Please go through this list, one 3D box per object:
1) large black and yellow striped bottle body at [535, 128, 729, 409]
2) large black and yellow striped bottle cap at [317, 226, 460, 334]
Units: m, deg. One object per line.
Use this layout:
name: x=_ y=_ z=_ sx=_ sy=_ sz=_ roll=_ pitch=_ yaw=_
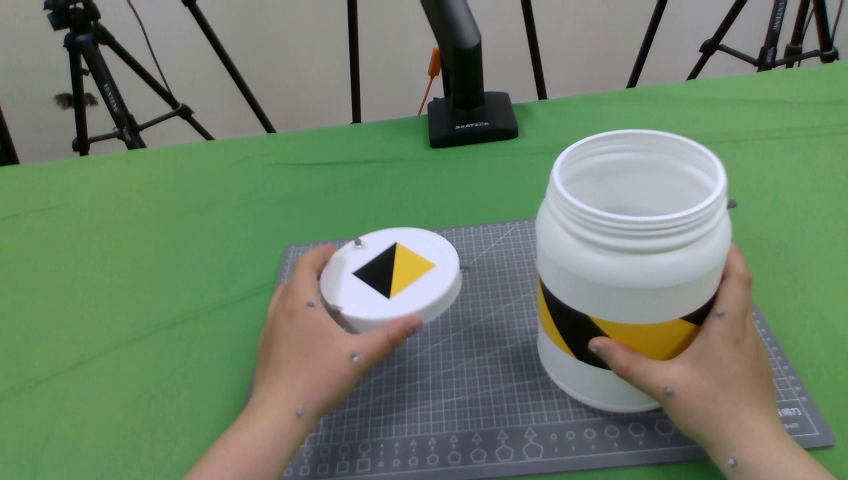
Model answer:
large black and yellow striped bottle body: x=0.149 y=0.023 z=0.454 sx=0.131 sy=0.186 sz=0.129 roll=-5 pitch=40 yaw=5
large black and yellow striped bottle cap: x=-0.029 y=0.028 z=0.491 sx=0.115 sy=0.019 sz=0.114 roll=-5 pitch=38 yaw=5
